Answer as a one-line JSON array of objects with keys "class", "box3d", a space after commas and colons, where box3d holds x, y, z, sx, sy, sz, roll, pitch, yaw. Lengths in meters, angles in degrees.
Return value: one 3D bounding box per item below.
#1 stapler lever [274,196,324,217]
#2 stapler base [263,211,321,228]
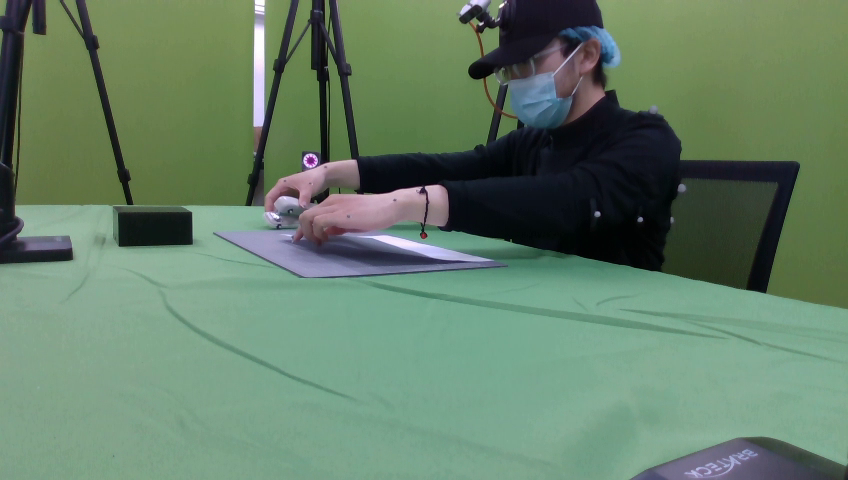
[{"class": "stapler lever", "box3d": [-0.243, -0.065, 1.190, 0.119, 0.040, 0.026, -3, 50, -52]}, {"class": "stapler base", "box3d": [-0.257, -0.047, 1.200, 0.131, 0.024, 0.041, -3, 49, -52]}]
